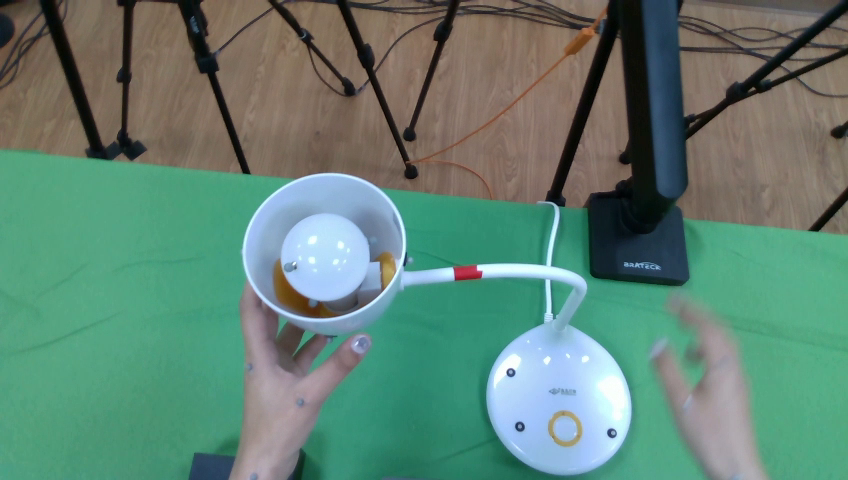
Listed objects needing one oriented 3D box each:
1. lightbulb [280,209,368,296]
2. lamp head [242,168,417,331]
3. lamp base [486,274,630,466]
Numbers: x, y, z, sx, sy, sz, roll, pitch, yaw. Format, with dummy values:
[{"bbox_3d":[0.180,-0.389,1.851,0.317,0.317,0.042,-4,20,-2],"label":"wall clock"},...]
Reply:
[{"bbox_3d":[-0.069,0.016,0.440,0.059,0.108,0.059,0,72,-1],"label":"lightbulb"},{"bbox_3d":[-0.064,0.020,0.464,0.112,0.124,0.111,-2,68,5],"label":"lamp head"},{"bbox_3d":[0.146,0.123,0.616,0.161,0.182,0.177,-8,61,-3],"label":"lamp base"}]
